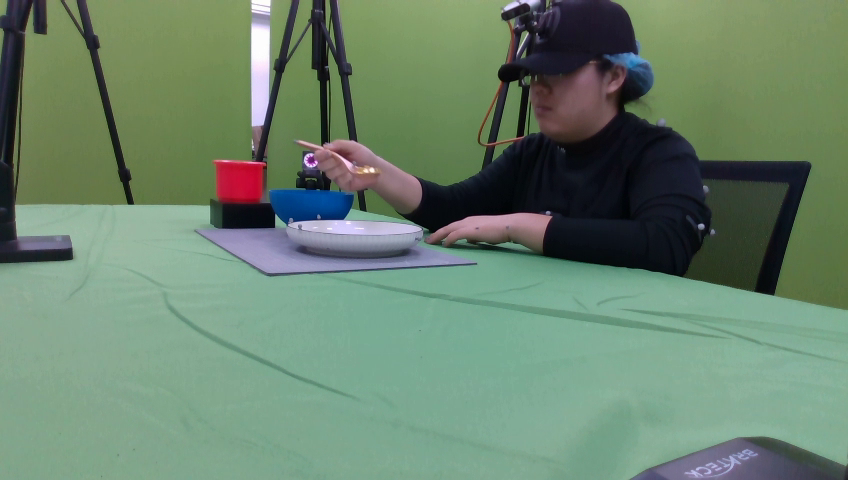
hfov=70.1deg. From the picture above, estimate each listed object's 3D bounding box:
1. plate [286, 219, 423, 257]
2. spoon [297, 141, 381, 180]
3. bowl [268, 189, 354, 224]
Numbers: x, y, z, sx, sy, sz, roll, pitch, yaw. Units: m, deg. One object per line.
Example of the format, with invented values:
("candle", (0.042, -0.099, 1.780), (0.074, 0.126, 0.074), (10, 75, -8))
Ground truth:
("plate", (-0.105, -0.004, 0.922), (0.208, 0.039, 0.207), (3, 7, 0))
("spoon", (-0.143, -0.132, 0.983), (0.193, 0.021, 0.042), (30, 26, 33))
("bowl", (-0.201, -0.049, 1.078), (0.151, 0.077, 0.151), (2, 8, 0))
